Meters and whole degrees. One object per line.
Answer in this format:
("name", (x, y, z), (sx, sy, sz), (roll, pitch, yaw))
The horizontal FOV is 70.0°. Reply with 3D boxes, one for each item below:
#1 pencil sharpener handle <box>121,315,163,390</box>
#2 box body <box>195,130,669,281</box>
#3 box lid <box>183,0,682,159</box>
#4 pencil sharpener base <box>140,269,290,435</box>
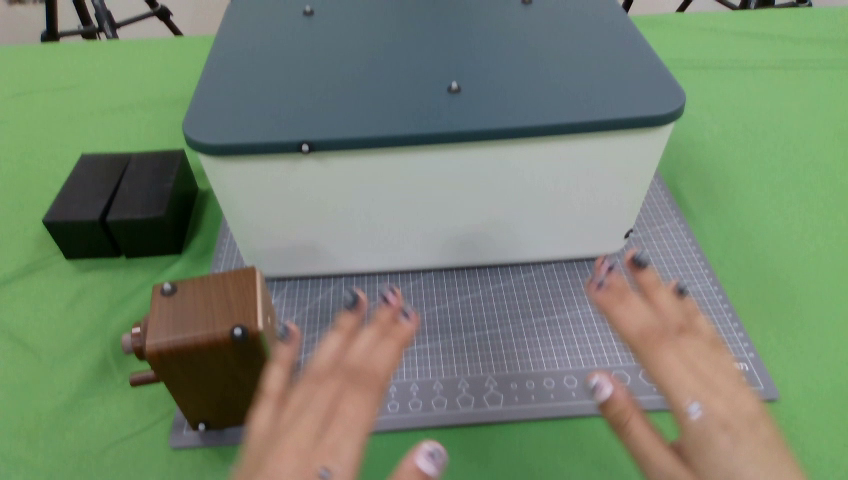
("pencil sharpener handle", (-0.192, 0.080, 0.407), (0.031, 0.068, 0.035), (-10, 48, -8))
("box body", (0.004, -0.105, 0.570), (0.364, 0.162, 0.251), (-4, 45, -3))
("box lid", (0.000, -0.158, 0.518), (0.372, 0.015, 0.260), (-4, 44, -3))
("pencil sharpener base", (-0.142, 0.081, 0.423), (0.077, 0.108, 0.060), (-10, 46, -8))
